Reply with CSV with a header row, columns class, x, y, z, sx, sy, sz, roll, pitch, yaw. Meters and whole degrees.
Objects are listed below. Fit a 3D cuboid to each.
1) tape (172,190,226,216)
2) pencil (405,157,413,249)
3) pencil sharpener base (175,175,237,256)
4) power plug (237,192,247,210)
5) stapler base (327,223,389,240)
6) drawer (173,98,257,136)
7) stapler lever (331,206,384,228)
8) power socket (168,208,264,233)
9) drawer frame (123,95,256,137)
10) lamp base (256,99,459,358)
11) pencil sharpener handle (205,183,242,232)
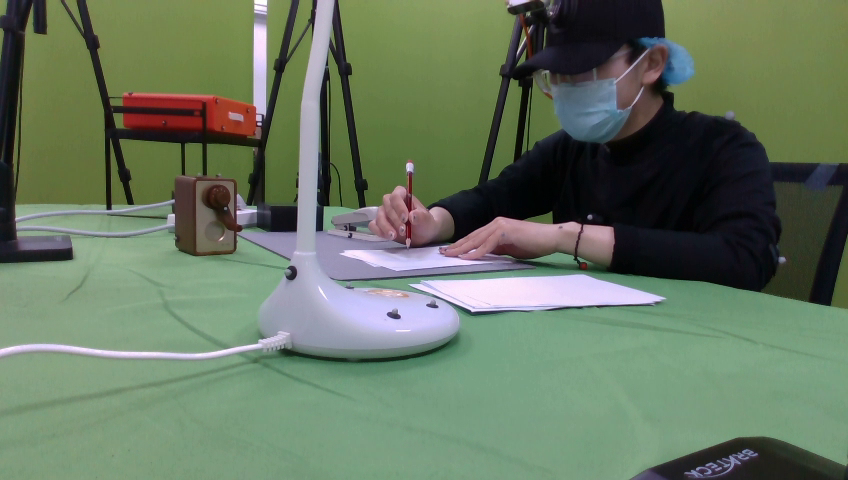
class,x,y,z,sx,sy,sz,roll,pitch,yaw
tape,-0.515,-0.087,1.388,0.117,0.052,0.117,3,7,0
pencil,-0.023,-0.058,0.899,0.012,0.012,0.193,2,47,-2
pencil sharpener base,-0.304,-0.035,0.847,0.062,0.107,0.076,-4,10,-42
power plug,-0.386,-0.071,1.204,0.072,0.052,0.035,7,9,26
stapler base,-0.118,-0.018,1.072,0.130,0.024,0.041,7,8,41
drawer,-0.518,-0.279,1.376,0.211,0.073,0.195,3,8,10
stapler lever,-0.119,-0.043,1.070,0.117,0.040,0.027,7,8,41
power socket,-0.381,-0.038,1.129,0.072,0.032,0.227,4,8,17
drawer frame,-0.524,-0.280,1.376,0.213,0.082,0.202,3,8,8
lamp base,-0.055,-0.013,0.463,0.160,0.180,0.180,6,11,27
pencil sharpener handle,-0.265,-0.043,0.812,0.036,0.068,0.030,-32,28,-35
